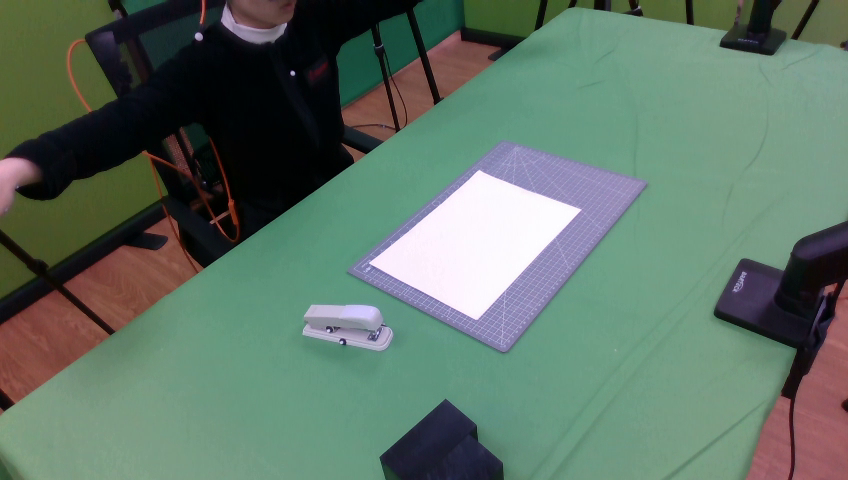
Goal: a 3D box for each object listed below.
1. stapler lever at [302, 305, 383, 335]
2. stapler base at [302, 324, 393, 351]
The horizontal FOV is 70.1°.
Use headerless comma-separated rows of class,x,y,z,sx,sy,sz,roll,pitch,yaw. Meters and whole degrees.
stapler lever,-0.113,0.105,0.829,0.117,0.040,0.027,8,40,18
stapler base,-0.109,0.123,0.845,0.130,0.024,0.041,7,40,18
